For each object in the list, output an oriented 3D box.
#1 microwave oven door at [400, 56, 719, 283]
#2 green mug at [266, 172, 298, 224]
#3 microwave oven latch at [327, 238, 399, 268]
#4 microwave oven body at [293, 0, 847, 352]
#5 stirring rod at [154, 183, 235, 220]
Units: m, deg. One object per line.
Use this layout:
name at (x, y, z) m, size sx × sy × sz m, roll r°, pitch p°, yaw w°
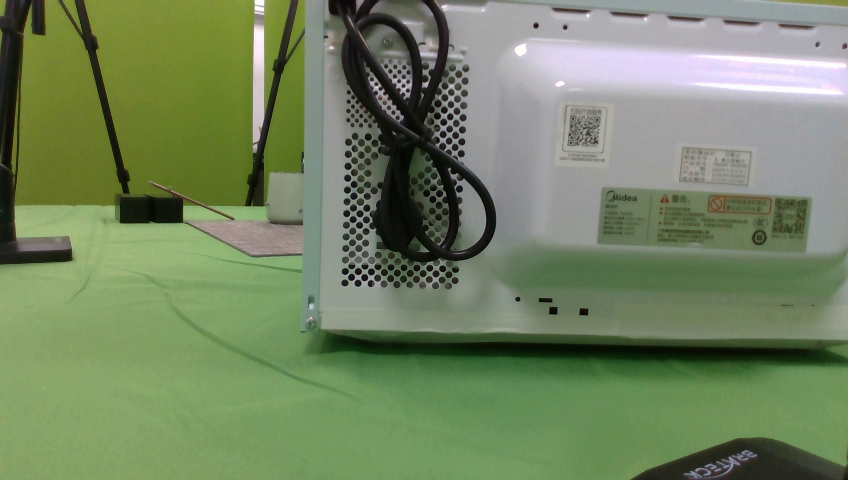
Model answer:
microwave oven door at (0.155, -0.077, 0.698) m, size 0.356 × 0.243 × 0.039 m, roll 2°, pitch 8°, yaw -5°
green mug at (-0.272, -0.089, 1.271) m, size 0.092 × 0.105 × 0.126 m, roll 7°, pitch 8°, yaw 33°
microwave oven latch at (-0.069, 0.015, 0.694) m, size 0.079 × 0.029 × 0.030 m, roll 3°, pitch 7°, yaw -3°
microwave oven body at (0.122, -0.055, 0.550) m, size 0.442 × 0.260 × 0.325 m, roll 3°, pitch 7°, yaw -5°
stirring rod at (-0.472, -0.079, 1.252) m, size 0.177 × 0.006 × 0.014 m, roll 27°, pitch 4°, yaw -35°
